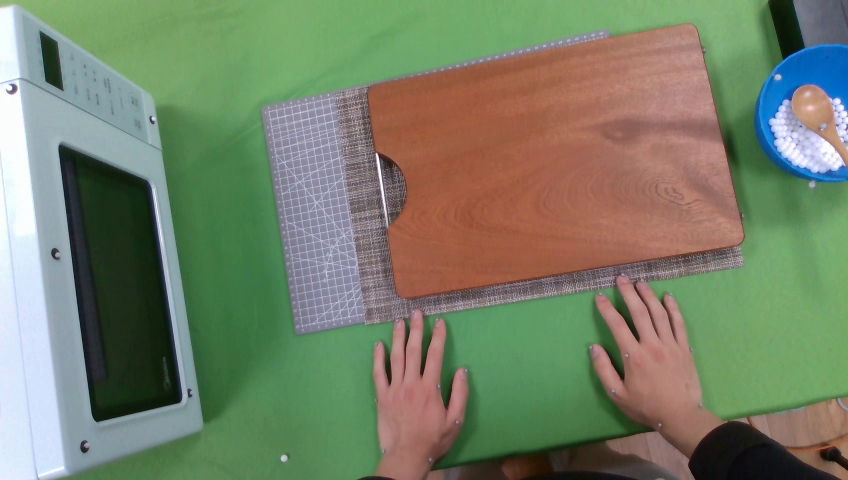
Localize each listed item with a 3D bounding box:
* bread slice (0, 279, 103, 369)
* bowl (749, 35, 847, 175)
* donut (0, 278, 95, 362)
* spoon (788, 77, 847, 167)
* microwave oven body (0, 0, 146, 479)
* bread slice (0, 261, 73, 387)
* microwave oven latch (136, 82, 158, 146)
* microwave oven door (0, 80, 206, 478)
[{"bbox_3d":[-0.455,0.104,0.721,0.132,0.019,0.105,-5,91,-6],"label":"bread slice"},{"bbox_3d":[0.430,-0.139,0.672,0.151,0.077,0.151,-1,84,7],"label":"bowl"},{"bbox_3d":[-0.427,0.090,0.686,0.099,0.048,0.099,-1,100,-7],"label":"donut"},{"bbox_3d":[0.437,-0.095,0.636,0.041,0.022,0.192,-12,59,3],"label":"spoon"},{"bbox_3d":[-0.480,0.034,0.663,0.326,0.261,0.440,-13,83,4],"label":"microwave oven body"},{"bbox_3d":[-0.436,0.100,0.638,0.134,0.018,0.106,-30,84,16],"label":"bread slice"},{"bbox_3d":[-0.362,-0.158,0.769,0.030,0.029,0.079,-13,83,5],"label":"microwave oven latch"},{"bbox_3d":[-0.330,0.041,0.640,0.039,0.244,0.354,-13,82,5],"label":"microwave oven door"}]
